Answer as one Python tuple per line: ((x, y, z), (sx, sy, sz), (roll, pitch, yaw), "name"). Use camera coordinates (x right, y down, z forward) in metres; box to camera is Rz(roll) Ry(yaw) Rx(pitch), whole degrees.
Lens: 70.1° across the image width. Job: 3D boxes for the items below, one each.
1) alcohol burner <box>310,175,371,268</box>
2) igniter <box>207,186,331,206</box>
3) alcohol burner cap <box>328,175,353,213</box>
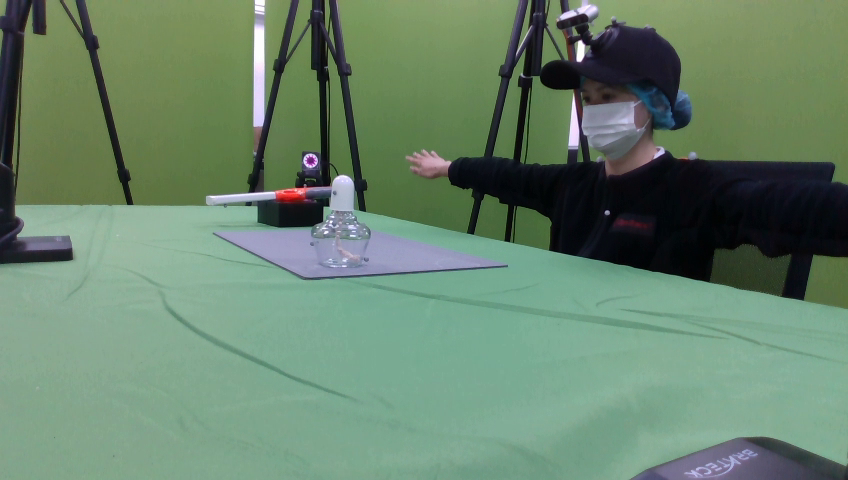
((-0.107, -0.024, 0.778), (0.078, 0.119, 0.078), (3, 5, 0), "alcohol burner")
((-0.300, -0.091, 1.241), (0.278, 0.025, 0.057), (-8, 11, -34), "igniter")
((-0.106, -0.059, 0.774), (0.034, 0.048, 0.034), (5, 8, 0), "alcohol burner cap")
